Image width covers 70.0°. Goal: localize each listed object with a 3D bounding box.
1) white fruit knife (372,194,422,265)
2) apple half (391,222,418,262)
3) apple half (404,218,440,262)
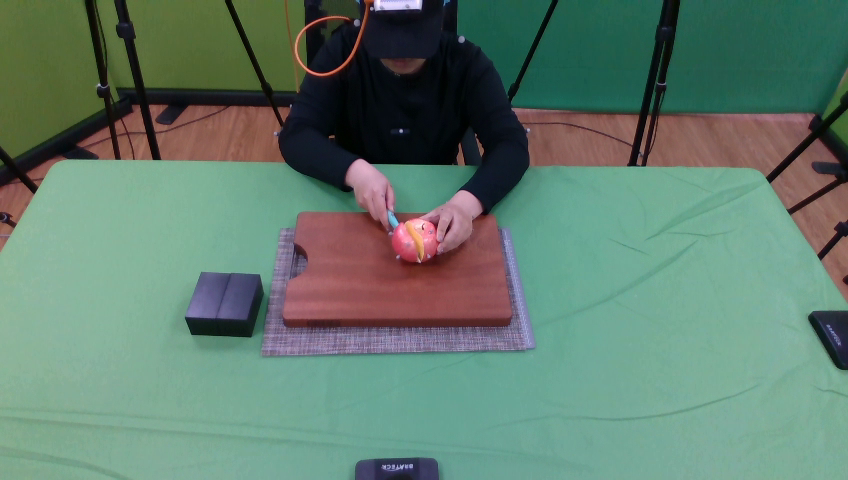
[{"bbox_3d":[-0.052,-0.024,1.159,0.016,0.027,0.206,-20,51,-21],"label":"white fruit knife"},{"bbox_3d":[-0.042,0.012,1.111,0.033,0.082,0.081,-22,51,-16],"label":"apple half"},{"bbox_3d":[0.001,-0.001,1.125,0.053,0.075,0.080,-17,46,-27],"label":"apple half"}]
